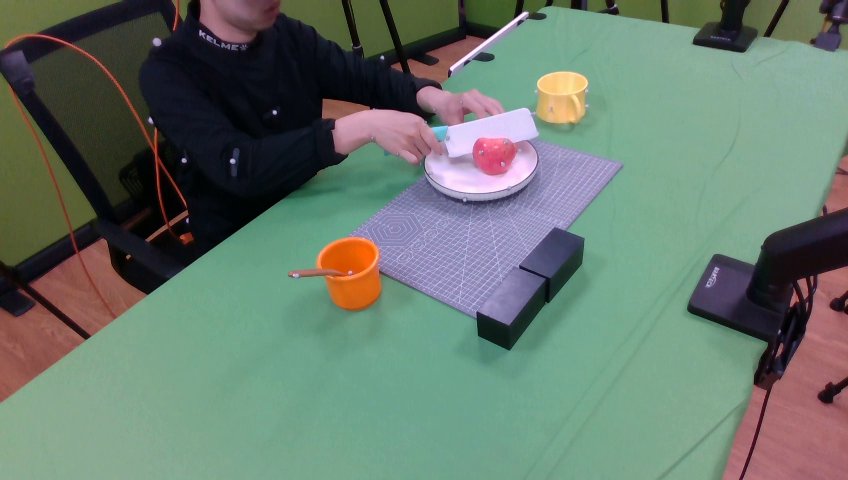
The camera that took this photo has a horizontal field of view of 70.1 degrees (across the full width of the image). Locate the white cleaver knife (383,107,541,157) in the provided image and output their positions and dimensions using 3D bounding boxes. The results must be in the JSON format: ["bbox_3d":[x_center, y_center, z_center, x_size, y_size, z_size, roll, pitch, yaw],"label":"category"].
[{"bbox_3d":[0.059,-0.177,1.064,0.285,0.066,0.021,-8,31,21],"label":"white cleaver knife"}]

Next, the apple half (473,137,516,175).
[{"bbox_3d":[0.122,-0.142,1.059,0.081,0.081,0.032,2,39,11],"label":"apple half"}]

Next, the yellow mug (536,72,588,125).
[{"bbox_3d":[0.285,-0.281,1.222,0.100,0.064,0.130,-16,42,-9],"label":"yellow mug"}]

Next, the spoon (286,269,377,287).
[{"bbox_3d":[-0.125,0.050,0.831,0.041,0.195,0.021,22,92,28],"label":"spoon"}]

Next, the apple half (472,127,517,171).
[{"bbox_3d":[0.129,-0.167,1.089,0.080,0.075,0.053,0,36,14],"label":"apple half"}]

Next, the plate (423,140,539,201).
[{"bbox_3d":[0.103,-0.132,1.092,0.209,0.038,0.208,-4,40,4],"label":"plate"}]
